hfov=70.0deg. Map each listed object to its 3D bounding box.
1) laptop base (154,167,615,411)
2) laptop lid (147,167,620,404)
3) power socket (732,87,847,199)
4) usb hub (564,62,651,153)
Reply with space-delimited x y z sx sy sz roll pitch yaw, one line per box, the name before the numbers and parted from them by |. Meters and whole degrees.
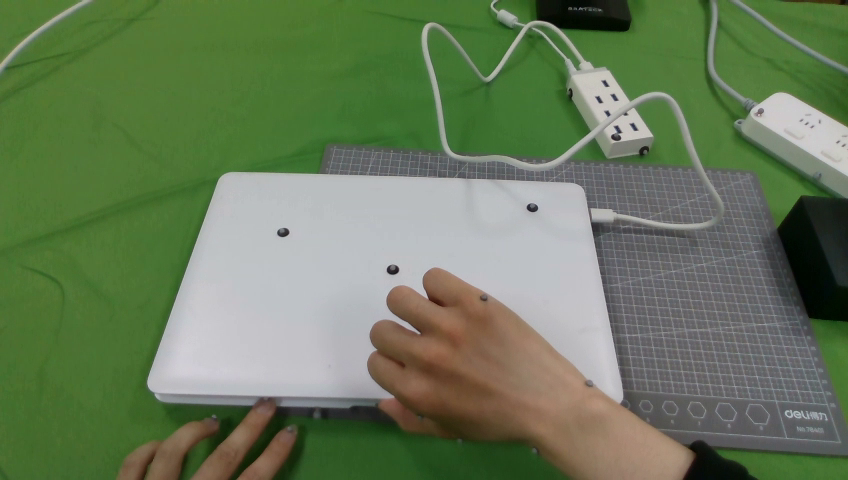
laptop base | -0.027 0.033 0.528 0.354 0.023 0.233 2 56 0
laptop lid | -0.027 0.024 0.513 0.357 0.013 0.239 3 51 2
power socket | 0.433 -0.085 0.623 0.072 0.033 0.224 -31 58 -24
usb hub | 0.200 -0.149 0.671 0.049 0.025 0.124 -10 53 -9
